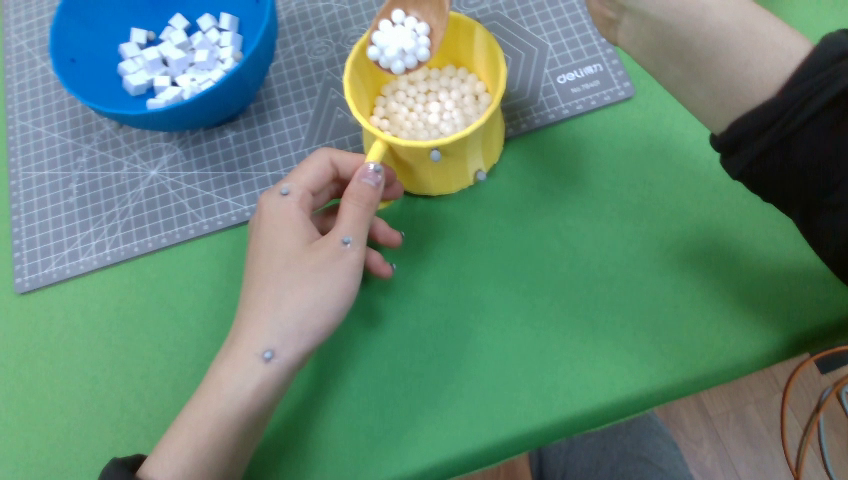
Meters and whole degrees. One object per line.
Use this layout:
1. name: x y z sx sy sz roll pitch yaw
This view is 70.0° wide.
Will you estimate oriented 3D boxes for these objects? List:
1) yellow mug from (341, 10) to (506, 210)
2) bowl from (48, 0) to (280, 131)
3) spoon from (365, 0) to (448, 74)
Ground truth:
1. yellow mug: -0.005 -0.076 0.388 0.099 0.064 0.130 26 75 15
2. bowl: -0.165 -0.131 0.422 0.151 0.077 0.150 -2 69 6
3. spoon: 0.026 -0.176 0.319 0.041 0.021 0.194 35 110 7
